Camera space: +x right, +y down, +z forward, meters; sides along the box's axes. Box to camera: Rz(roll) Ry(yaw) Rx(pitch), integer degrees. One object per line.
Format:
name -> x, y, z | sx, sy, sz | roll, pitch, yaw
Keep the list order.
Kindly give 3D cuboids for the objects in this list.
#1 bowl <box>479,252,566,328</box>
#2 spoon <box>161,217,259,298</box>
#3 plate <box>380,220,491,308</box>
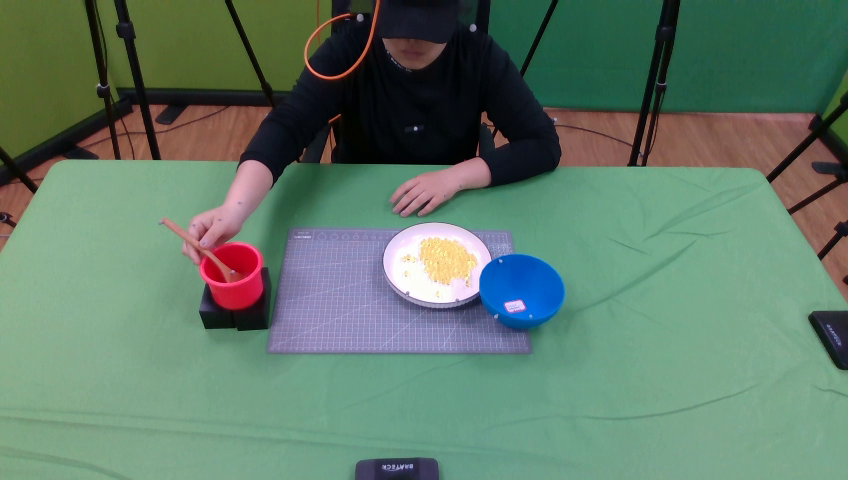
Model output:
bowl -> 0.167, 0.103, 1.067 | 0.151, 0.077, 0.150 | 2, 46, -2
spoon -> -0.348, 0.028, 0.991 | 0.194, 0.021, 0.041 | 47, 41, -19
plate -> 0.022, 0.048, 1.137 | 0.208, 0.039, 0.206 | 2, 46, -2
